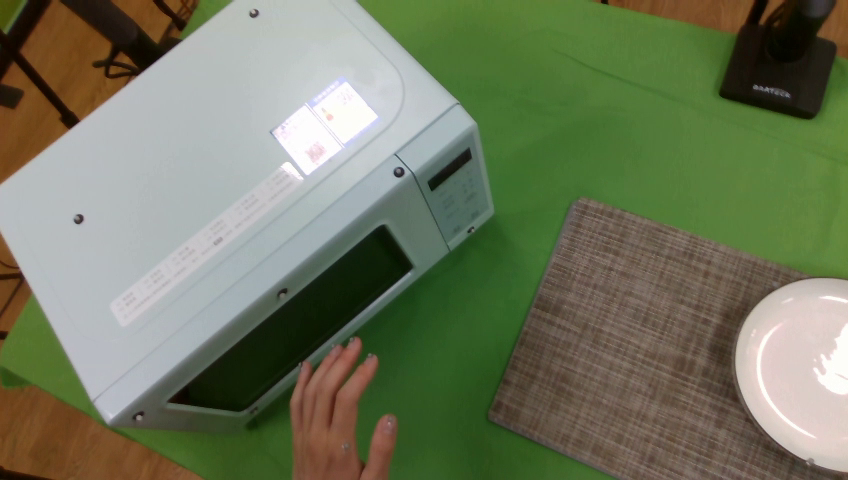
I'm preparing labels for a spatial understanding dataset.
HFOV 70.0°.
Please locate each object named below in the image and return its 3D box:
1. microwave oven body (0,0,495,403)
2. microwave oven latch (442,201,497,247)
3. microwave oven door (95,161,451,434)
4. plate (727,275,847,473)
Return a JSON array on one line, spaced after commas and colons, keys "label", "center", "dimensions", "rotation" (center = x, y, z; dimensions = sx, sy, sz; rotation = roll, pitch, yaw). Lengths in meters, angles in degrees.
[{"label": "microwave oven body", "center": [-0.189, -0.048, 0.718], "dimensions": [0.441, 0.262, 0.323], "rotation": [-40, 70, -3]}, {"label": "microwave oven latch", "center": [0.056, -0.027, 0.768], "dimensions": [0.079, 0.030, 0.030], "rotation": [-38, 70, -3]}, {"label": "microwave oven door", "center": [-0.133, 0.079, 0.659], "dimensions": [0.356, 0.246, 0.039], "rotation": [-40, 68, -4]}, {"label": "plate", "center": [0.437, 0.143, 0.655], "dimensions": [0.207, 0.039, 0.206], "rotation": [-3, 71, 10]}]
